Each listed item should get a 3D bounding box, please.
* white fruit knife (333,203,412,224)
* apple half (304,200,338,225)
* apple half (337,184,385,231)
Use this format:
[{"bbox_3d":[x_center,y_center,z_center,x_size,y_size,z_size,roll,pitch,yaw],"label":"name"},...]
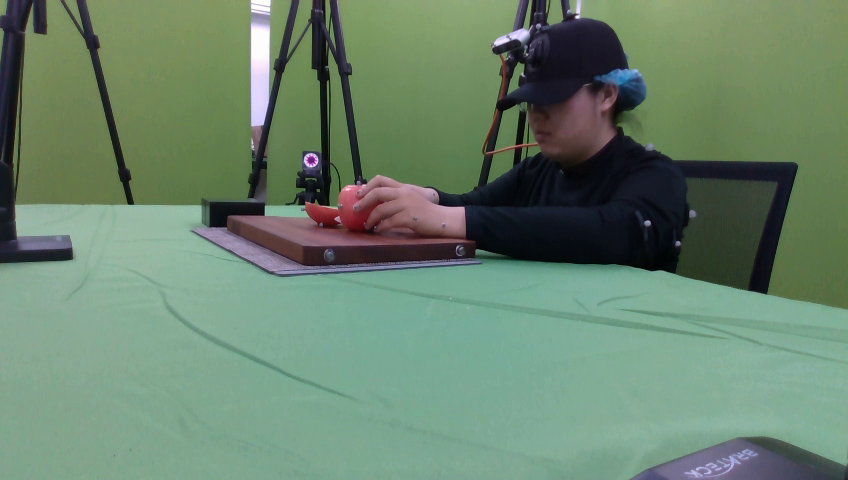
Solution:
[{"bbox_3d":[-0.082,-0.044,1.018,0.016,0.027,0.208,6,10,33],"label":"white fruit knife"},{"bbox_3d":[-0.161,-0.040,0.999,0.081,0.033,0.081,15,-2,1],"label":"apple half"},{"bbox_3d":[-0.092,-0.050,0.951,0.053,0.074,0.081,12,7,32],"label":"apple half"}]
